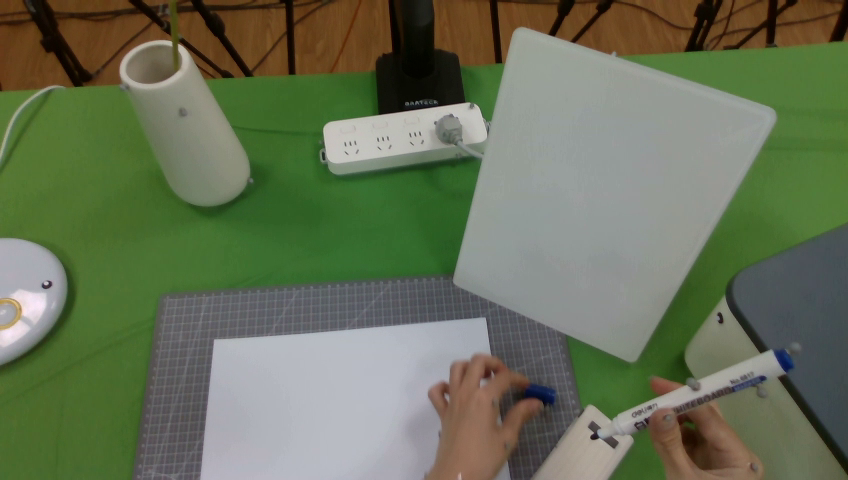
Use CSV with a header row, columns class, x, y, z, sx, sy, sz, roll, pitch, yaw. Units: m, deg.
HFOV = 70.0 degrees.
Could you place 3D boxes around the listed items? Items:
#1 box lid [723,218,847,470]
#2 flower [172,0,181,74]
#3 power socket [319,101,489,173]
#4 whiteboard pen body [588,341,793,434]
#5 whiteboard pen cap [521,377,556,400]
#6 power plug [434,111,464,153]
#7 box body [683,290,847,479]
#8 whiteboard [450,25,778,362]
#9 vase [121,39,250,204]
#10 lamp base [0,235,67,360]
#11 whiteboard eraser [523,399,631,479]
class,x,y,z,sx,sy,sz,roll,pitch,yaw
box lid,0.441,0.131,0.473,0.263,0.015,0.368,-21,62,-11
flower,-0.247,-0.163,0.614,0.038,0.363,0.044,44,59,4
power socket,-0.025,-0.135,0.789,0.227,0.033,0.071,-8,61,-6
whiteboard pen body,0.166,0.101,0.393,0.141,0.017,0.017,-35,55,30
whiteboard pen cap,0.118,0.155,0.627,0.033,0.018,0.018,14,60,4
power plug,0.031,-0.129,0.760,0.035,0.053,0.072,0,66,0
box body,0.442,0.171,0.537,0.254,0.161,0.360,-20,62,-12
whiteboard,0.178,-0.059,0.624,0.216,0.308,0.143,24,42,14
vase,-0.267,-0.127,0.688,0.098,0.201,0.097,-1,59,1
lamp base,-0.494,0.020,0.612,0.178,0.182,0.160,25,62,17
whiteboard eraser,0.144,0.212,0.579,0.055,0.042,0.112,37,66,20
